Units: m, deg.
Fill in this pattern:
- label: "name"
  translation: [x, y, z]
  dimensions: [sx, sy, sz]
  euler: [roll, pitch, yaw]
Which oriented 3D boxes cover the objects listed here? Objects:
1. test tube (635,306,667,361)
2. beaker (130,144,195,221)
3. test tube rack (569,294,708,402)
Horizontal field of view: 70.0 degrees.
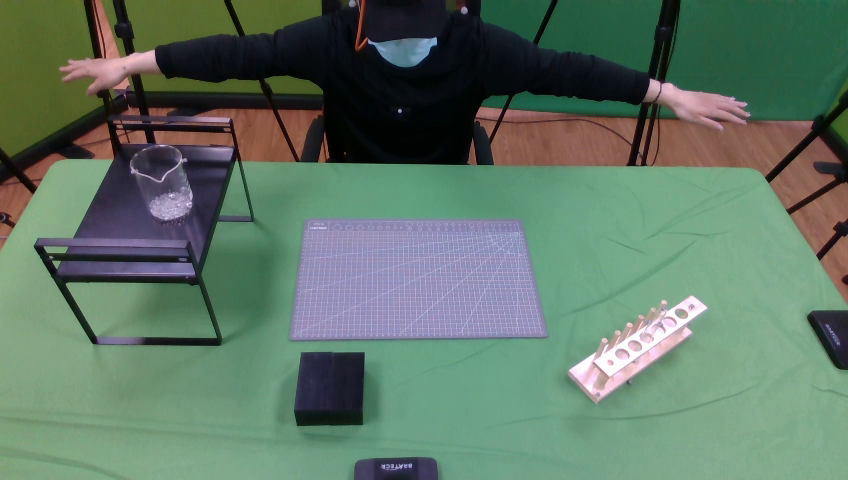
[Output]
- label: "test tube"
  translation: [0.356, 0.151, 0.961]
  dimensions: [0.017, 0.151, 0.017]
  euler: [0, 51, 0]
- label: "beaker"
  translation: [-0.403, -0.085, 0.944]
  dimensions: [0.074, 0.101, 0.083]
  euler: [-15, 50, -17]
- label: "test tube rack"
  translation: [0.360, 0.167, 1.015]
  dimensions: [0.242, 0.085, 0.066]
  euler: [-25, 53, -25]
